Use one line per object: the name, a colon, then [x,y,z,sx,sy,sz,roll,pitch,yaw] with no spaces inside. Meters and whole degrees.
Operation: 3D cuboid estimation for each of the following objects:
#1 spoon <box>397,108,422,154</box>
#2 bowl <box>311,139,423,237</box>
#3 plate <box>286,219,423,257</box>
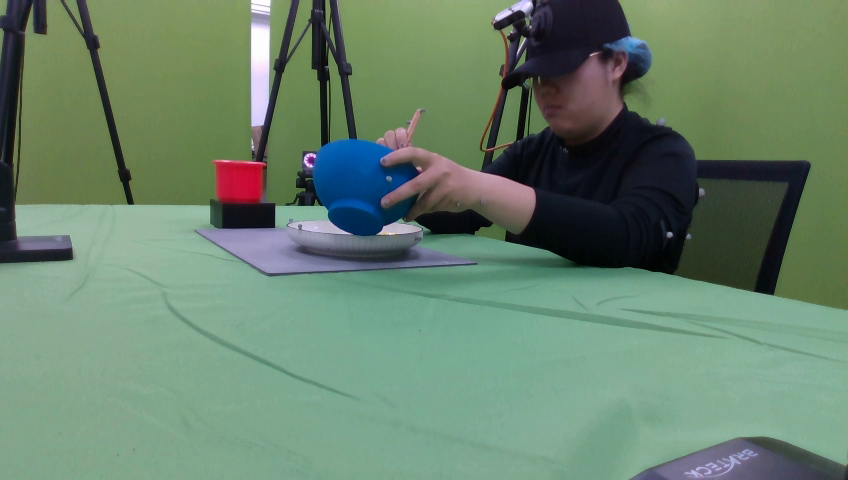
spoon: [-0.041,-0.135,0.923,0.022,0.194,0.041,41,-36,-19]
bowl: [-0.082,-0.056,0.795,0.151,0.076,0.151,9,-27,5]
plate: [-0.105,-0.003,0.922,0.208,0.039,0.207,3,7,0]
